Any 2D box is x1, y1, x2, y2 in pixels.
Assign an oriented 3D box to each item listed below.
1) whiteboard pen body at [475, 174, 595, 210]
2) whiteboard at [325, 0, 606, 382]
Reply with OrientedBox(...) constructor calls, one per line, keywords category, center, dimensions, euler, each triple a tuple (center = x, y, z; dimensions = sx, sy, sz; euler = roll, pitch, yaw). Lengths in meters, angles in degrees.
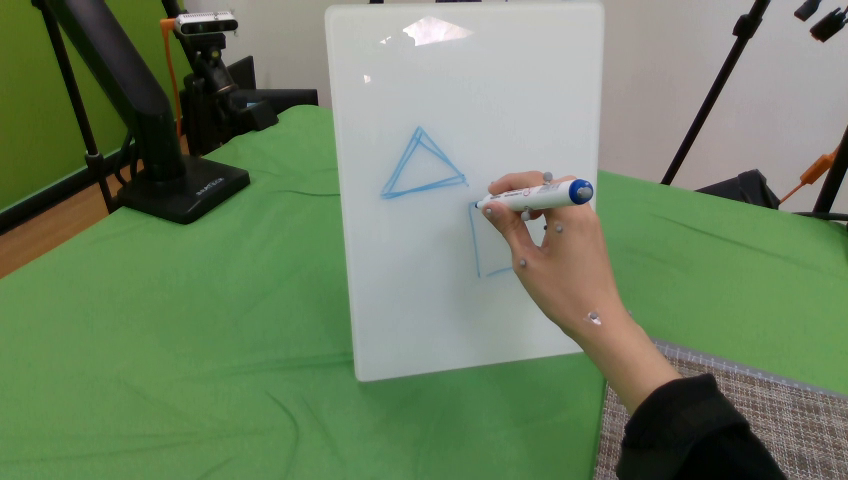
OrientedBox(category="whiteboard pen body", center=(0.069, -0.031, 0.418), dimensions=(0.017, 0.017, 0.140), euler=(-15, 5, -22))
OrientedBox(category="whiteboard", center=(0.030, -0.054, 0.554), dimensions=(0.218, 0.307, 0.143), euler=(-5, 17, -10))
